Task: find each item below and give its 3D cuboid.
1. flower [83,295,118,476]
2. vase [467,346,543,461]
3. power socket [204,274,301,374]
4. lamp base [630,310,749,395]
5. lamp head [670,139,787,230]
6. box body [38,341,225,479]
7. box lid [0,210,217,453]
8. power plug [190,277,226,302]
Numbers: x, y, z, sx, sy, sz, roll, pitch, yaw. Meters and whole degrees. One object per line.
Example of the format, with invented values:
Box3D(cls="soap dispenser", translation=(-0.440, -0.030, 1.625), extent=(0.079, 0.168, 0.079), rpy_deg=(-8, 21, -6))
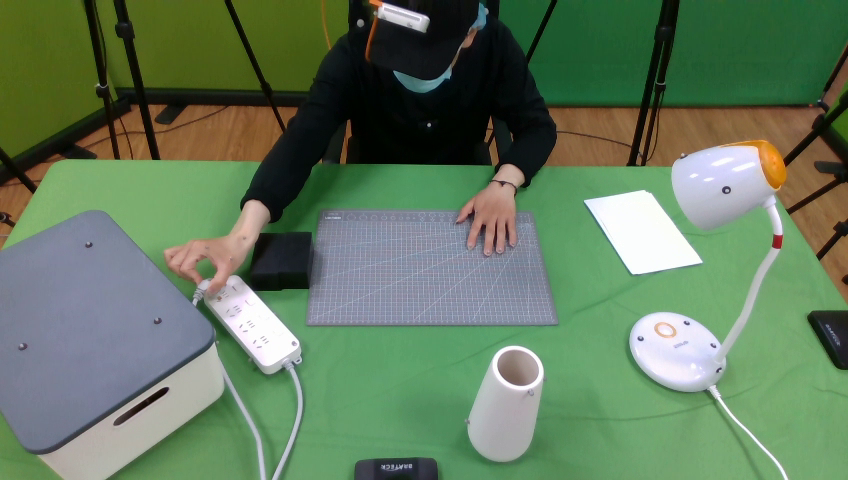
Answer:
Box3D(cls="flower", translation=(-0.513, 0.210, 0.960), extent=(0.044, 0.038, 0.359), rpy_deg=(5, 35, -32))
Box3D(cls="vase", translation=(0.116, 0.235, 0.861), extent=(0.098, 0.201, 0.097), rpy_deg=(1, 47, -1))
Box3D(cls="power socket", translation=(-0.296, 0.140, 1.035), extent=(0.072, 0.033, 0.225), rpy_deg=(-32, 57, -29))
Box3D(cls="lamp base", translation=(0.447, 0.143, 0.984), extent=(0.161, 0.181, 0.178), rpy_deg=(-24, 55, -24))
Box3D(cls="lamp head", translation=(0.415, -0.078, 0.812), extent=(0.113, 0.123, 0.112), rpy_deg=(13, 70, -37))
Box3D(cls="box body", translation=(-0.504, 0.154, 0.917), extent=(0.362, 0.161, 0.254), rpy_deg=(36, 54, 27))
Box3D(cls="box lid", translation=(-0.502, 0.102, 0.865), extent=(0.369, 0.015, 0.263), rpy_deg=(36, 54, 27))
Box3D(cls="power plug", translation=(-0.370, 0.093, 1.030), extent=(0.035, 0.053, 0.072), rpy_deg=(32, 65, 34))
